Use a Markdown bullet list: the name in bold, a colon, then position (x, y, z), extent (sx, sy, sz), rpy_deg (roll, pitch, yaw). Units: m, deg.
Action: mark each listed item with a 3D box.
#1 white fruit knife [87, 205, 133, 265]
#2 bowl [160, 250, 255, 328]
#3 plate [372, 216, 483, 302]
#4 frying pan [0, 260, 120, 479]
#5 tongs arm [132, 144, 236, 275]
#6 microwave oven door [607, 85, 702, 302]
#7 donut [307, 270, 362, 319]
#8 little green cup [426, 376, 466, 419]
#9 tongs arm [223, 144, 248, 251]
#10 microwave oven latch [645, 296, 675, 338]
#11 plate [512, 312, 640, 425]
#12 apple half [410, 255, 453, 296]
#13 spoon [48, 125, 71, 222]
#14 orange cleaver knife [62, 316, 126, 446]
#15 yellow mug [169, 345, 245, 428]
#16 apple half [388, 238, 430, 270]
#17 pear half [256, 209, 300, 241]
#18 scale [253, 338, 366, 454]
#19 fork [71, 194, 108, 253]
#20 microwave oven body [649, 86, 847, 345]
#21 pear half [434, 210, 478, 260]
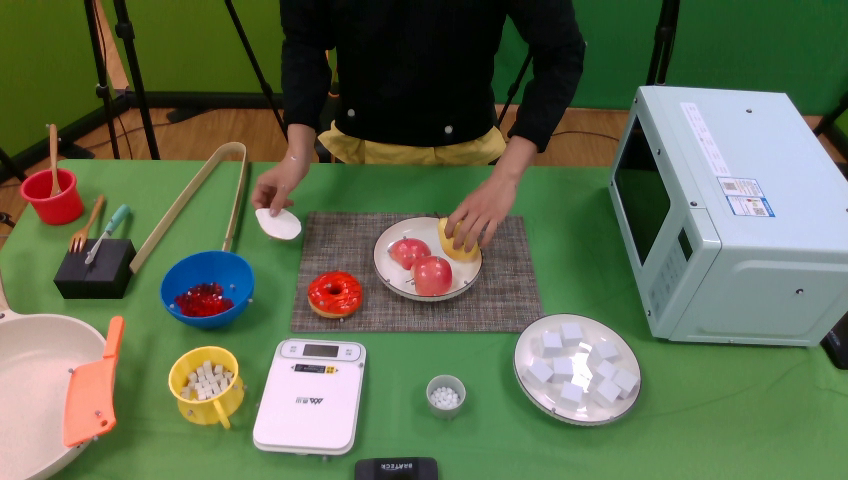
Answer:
- **white fruit knife**: position (-0.584, -0.013, 1.129), extent (0.016, 0.027, 0.206), rpy_deg (-1, 32, -4)
- **bowl**: position (-0.362, 0.098, 1.039), extent (0.151, 0.077, 0.150), rpy_deg (2, 45, -2)
- **plate**: position (0.006, 0.038, 1.145), extent (0.209, 0.038, 0.208), rpy_deg (2, 46, -2)
- **frying pan**: position (-0.647, 0.164, 0.936), extent (0.307, 0.103, 0.485), rpy_deg (-19, 58, -22)
- **tongs arm**: position (-0.484, -0.075, 1.237), extent (0.028, 0.028, 0.385), rpy_deg (5, 45, 14)
- **microwave oven door**: position (0.423, -0.094, 1.140), extent (0.039, 0.245, 0.353), rpy_deg (2, 46, -1)
- **donut**: position (-0.157, 0.097, 1.073), extent (0.099, 0.048, 0.098), rpy_deg (4, 45, -4)
- **little green cup**: position (0.033, 0.248, 0.950), extent (0.061, 0.039, 0.061), rpy_deg (2, 46, -2)
- **tongs arm**: position (-0.397, -0.073, 1.232), extent (0.051, 0.027, 0.382), rpy_deg (-3, 45, 1)
- **microwave oven latch**: position (0.412, 0.134, 1.062), extent (0.030, 0.029, 0.078), rpy_deg (3, 45, 0)
- **plate**: position (0.246, 0.213, 0.999), extent (0.208, 0.039, 0.206), rpy_deg (2, 46, -2)
- **apple half**: position (0.015, 0.058, 1.103), extent (0.075, 0.053, 0.080), rpy_deg (-2, 43, -9)
- **spoon**: position (-0.718, -0.131, 1.188), extent (0.041, 0.021, 0.193), rpy_deg (-3, 90, -6)
- **orange cleaver knife**: position (-0.480, 0.199, 0.888), extent (0.077, 0.012, 0.210), rpy_deg (-8, 46, -9)
- **yellow mug**: position (-0.322, 0.230, 0.922), extent (0.100, 0.064, 0.130), rpy_deg (-24, 53, -25)
- **apple half**: position (-0.026, 0.017, 1.158), extent (0.081, 0.033, 0.081), rpy_deg (2, 46, -2)
- **pear half**: position (-0.280, -0.025, 1.146), extent (0.088, 0.031, 0.070), rpy_deg (28, 36, 0)
- **scale**: position (-0.175, 0.236, 0.951), extent (0.149, 0.032, 0.199), rpy_deg (4, 45, -1)
- **fork**: position (-0.634, -0.036, 1.158), extent (0.028, 0.019, 0.206), rpy_deg (-8, 31, -8)
- **microwave oven body**: position (0.568, -0.053, 1.118), extent (0.326, 0.261, 0.439), rpy_deg (2, 45, -1)
- **pear half**: position (0.060, -0.018, 1.130), extent (0.056, 0.110, 0.076), rpy_deg (-23, 29, 34)
